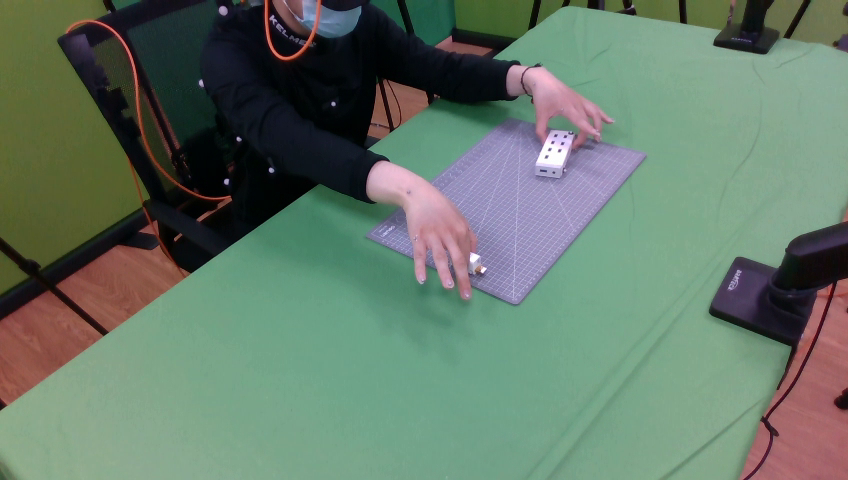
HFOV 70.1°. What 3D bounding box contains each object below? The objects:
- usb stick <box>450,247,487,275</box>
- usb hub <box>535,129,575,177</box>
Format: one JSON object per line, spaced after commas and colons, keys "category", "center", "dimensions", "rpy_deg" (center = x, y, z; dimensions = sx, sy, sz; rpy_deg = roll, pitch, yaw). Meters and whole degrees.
{"category": "usb stick", "center": [0.068, 0.034, 0.912], "dimensions": [0.059, 0.027, 0.021], "rpy_deg": [24, 48, 28]}
{"category": "usb hub", "center": [0.243, -0.161, 1.115], "dimensions": [0.049, 0.025, 0.125], "rpy_deg": [11, 44, 20]}
